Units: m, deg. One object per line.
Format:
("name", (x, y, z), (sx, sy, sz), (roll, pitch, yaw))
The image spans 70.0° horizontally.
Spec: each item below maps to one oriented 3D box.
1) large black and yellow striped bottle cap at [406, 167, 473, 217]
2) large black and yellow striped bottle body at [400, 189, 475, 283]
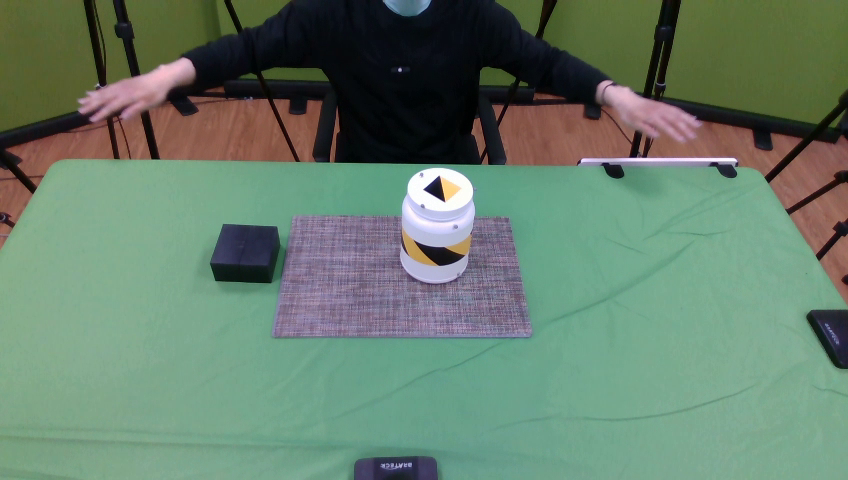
("large black and yellow striped bottle cap", (0.027, -0.084, 1.043), (0.115, 0.019, 0.114), (3, 46, -3))
("large black and yellow striped bottle body", (0.024, -0.024, 1.102), (0.131, 0.185, 0.130), (2, 46, -2))
